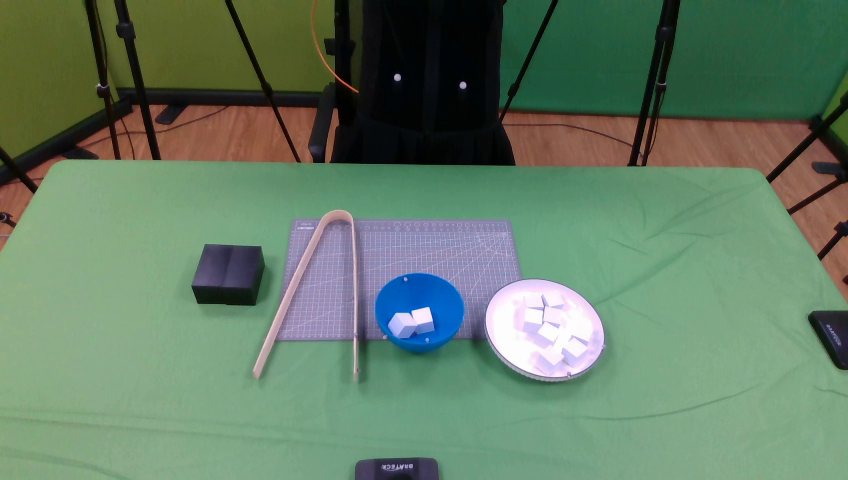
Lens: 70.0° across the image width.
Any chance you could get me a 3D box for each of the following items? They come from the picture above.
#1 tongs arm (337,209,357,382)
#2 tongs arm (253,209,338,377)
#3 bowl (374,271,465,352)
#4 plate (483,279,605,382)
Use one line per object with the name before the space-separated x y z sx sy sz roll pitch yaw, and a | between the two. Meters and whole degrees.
tongs arm | -0.143 0.083 1.094 0.051 0.026 0.382 -2 46 -1
tongs arm | -0.227 0.079 1.095 0.028 0.028 0.385 5 46 11
bowl | -0.009 0.136 1.024 0.151 0.077 0.150 2 47 -2
plate | 0.204 0.158 1.046 0.208 0.039 0.206 3 47 -3
